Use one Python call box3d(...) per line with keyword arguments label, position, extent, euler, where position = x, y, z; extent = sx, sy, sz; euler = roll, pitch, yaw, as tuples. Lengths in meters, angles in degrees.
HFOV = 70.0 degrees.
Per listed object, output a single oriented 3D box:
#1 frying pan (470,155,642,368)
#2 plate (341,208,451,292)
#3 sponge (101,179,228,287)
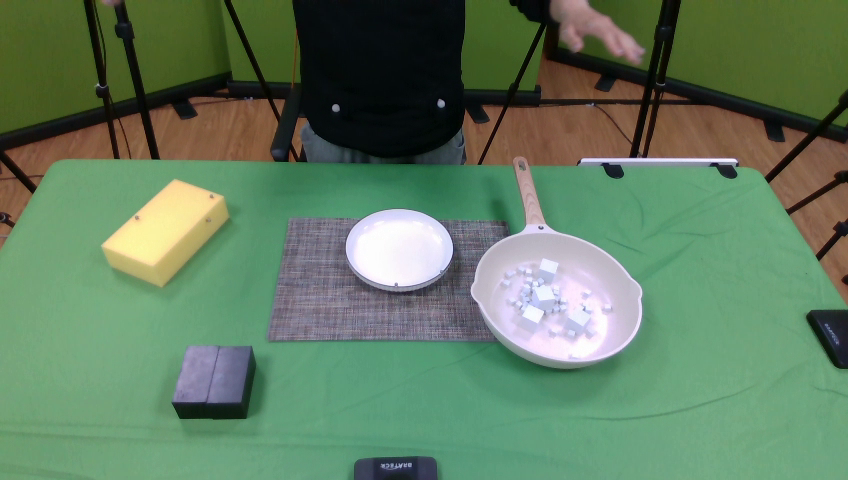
box3d(label="frying pan", position=(0.222, 0.022, 1.134), extent=(0.307, 0.103, 0.484), euler=(0, 55, -7))
box3d(label="plate", position=(-0.053, 0.022, 1.156), extent=(0.208, 0.039, 0.206), euler=(2, 46, -2))
box3d(label="sponge", position=(-0.486, -0.019, 1.151), extent=(0.118, 0.061, 0.206), euler=(19, 47, 12))
